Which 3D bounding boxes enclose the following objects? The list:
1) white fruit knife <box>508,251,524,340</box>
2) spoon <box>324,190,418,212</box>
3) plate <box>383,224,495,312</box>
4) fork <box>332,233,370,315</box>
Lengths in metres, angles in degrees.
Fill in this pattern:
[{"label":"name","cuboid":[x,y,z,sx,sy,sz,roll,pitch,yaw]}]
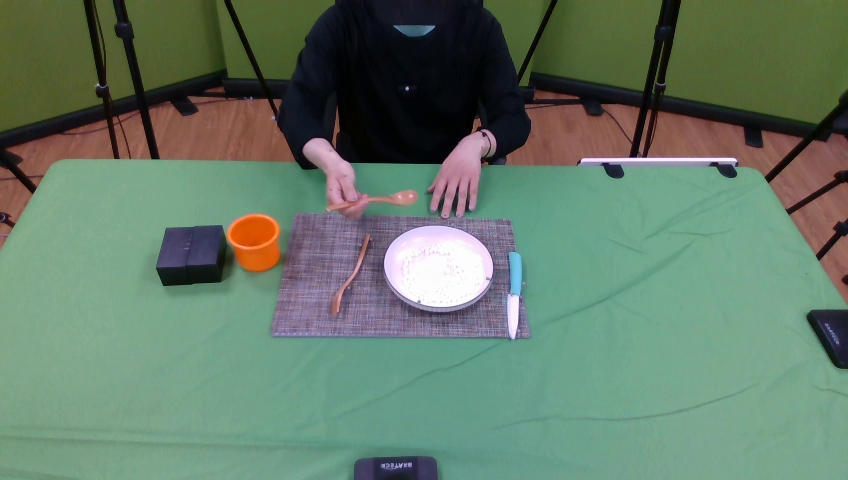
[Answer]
[{"label":"white fruit knife","cuboid":[0.169,0.098,1.113,0.027,0.016,0.206,-13,43,23]},{"label":"spoon","cuboid":[-0.095,-0.072,1.107,0.194,0.022,0.041,-8,41,-35]},{"label":"plate","cuboid":[0.026,0.055,1.128,0.209,0.038,0.208,2,46,-2]},{"label":"fork","cuboid":[-0.133,0.058,1.127,0.019,0.028,0.206,35,44,-12]}]
